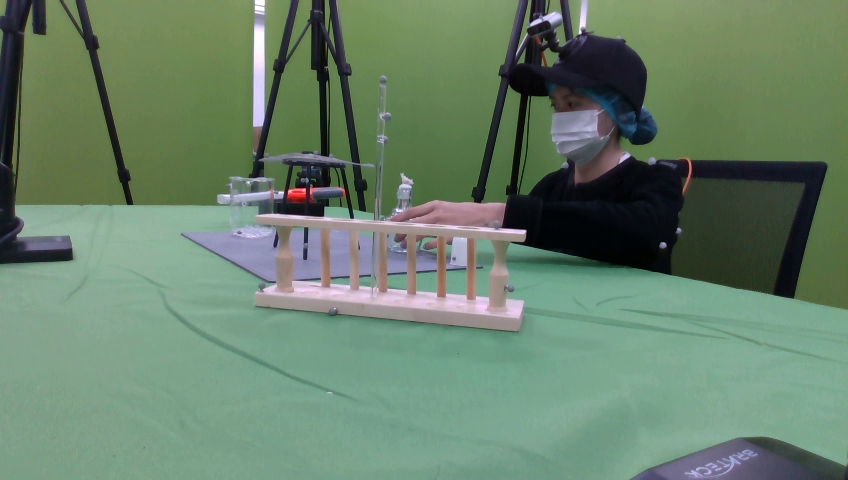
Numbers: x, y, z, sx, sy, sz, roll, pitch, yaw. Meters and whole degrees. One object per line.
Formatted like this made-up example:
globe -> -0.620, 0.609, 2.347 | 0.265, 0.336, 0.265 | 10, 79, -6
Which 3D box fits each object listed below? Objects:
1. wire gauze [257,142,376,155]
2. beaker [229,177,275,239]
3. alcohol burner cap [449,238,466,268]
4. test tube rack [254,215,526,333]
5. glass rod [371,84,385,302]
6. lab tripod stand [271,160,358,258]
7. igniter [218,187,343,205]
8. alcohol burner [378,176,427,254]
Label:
wire gauze -> -0.155, -0.130, 0.871 | 0.124, 0.011, 0.122 | -1, 7, 36
beaker -> -0.292, -0.056, 1.023 | 0.074, 0.100, 0.083 | -1, 8, -26
alcohol burner cap -> 0.051, 0.015, 0.828 | 0.034, 0.048, 0.034 | 2, 6, 0
test tube rack -> -0.030, 0.025, 0.557 | 0.242, 0.085, 0.067 | 4, 7, 12
glass rod -> -0.041, -0.041, 0.548 | 0.008, 0.199, 0.008 | 2, 2, 0
lab tripod stand -> -0.159, -0.048, 0.876 | 0.148, 0.131, 0.148 | 3, 5, 0
igniter -> -0.287, -0.093, 1.257 | 0.278, 0.025, 0.057 | -8, 13, -41
alcohol burner -> -0.033, -0.039, 0.936 | 0.078, 0.119, 0.078 | 1, 6, 0
